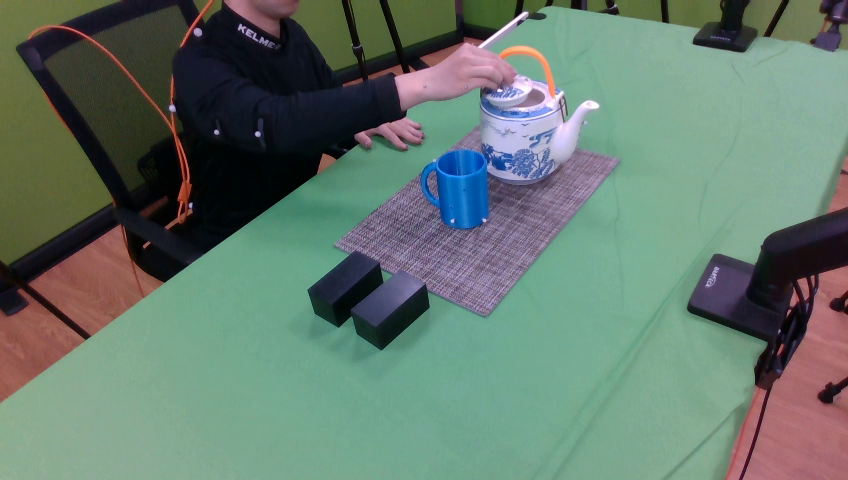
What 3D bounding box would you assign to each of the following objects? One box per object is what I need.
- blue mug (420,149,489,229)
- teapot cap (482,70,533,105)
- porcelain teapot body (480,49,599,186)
[{"bbox_3d":[0.048,-0.085,0.991,0.116,0.106,0.082,9,43,19],"label":"blue mug"},{"bbox_3d":[0.135,-0.251,0.980,0.085,0.044,0.085,-7,40,6],"label":"teapot cap"},{"bbox_3d":[0.192,-0.208,1.023,0.204,0.226,0.145,17,46,25],"label":"porcelain teapot body"}]
